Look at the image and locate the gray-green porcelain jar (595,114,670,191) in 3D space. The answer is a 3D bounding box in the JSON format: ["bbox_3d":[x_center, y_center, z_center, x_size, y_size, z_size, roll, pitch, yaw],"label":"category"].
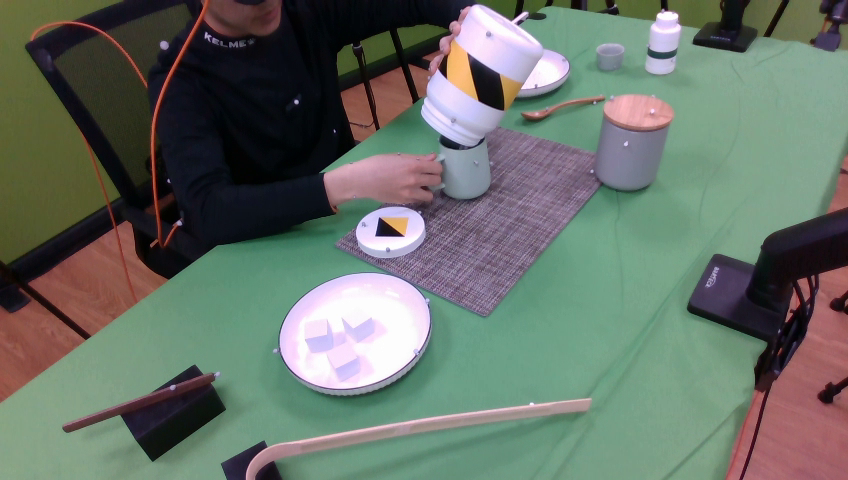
[{"bbox_3d":[0.346,-0.155,1.017,0.106,0.127,0.105,-2,43,2],"label":"gray-green porcelain jar"}]

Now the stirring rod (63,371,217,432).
[{"bbox_3d":[-0.337,0.192,0.723,0.177,0.014,0.005,-18,42,-12],"label":"stirring rod"}]

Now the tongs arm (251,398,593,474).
[{"bbox_3d":[0.008,0.212,0.675,0.389,0.028,0.028,-5,46,-11],"label":"tongs arm"}]

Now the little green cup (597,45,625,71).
[{"bbox_3d":[0.423,-0.413,1.375,0.061,0.039,0.061,-3,41,3],"label":"little green cup"}]

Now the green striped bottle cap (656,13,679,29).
[{"bbox_3d":[0.515,-0.463,1.278,0.044,0.020,0.044,-5,41,5],"label":"green striped bottle cap"}]

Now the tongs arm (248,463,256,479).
[{"bbox_3d":[0.012,0.262,0.615,0.385,0.026,0.050,2,42,-2],"label":"tongs arm"}]

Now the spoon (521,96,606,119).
[{"bbox_3d":[0.291,-0.277,1.249,0.194,0.022,0.041,-17,27,-11],"label":"spoon"}]

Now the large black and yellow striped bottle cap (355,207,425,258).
[{"bbox_3d":[-0.056,-0.014,0.993,0.115,0.019,0.114,-3,40,3],"label":"large black and yellow striped bottle cap"}]

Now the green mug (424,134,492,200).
[{"bbox_3d":[0.055,-0.125,1.039,0.126,0.105,0.091,-26,44,-20],"label":"green mug"}]

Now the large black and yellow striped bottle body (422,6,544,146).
[{"bbox_3d":[0.086,-0.253,0.953,0.131,0.184,0.130,26,27,-14],"label":"large black and yellow striped bottle body"}]

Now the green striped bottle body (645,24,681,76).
[{"bbox_3d":[0.520,-0.424,1.312,0.063,0.120,0.063,-4,41,4],"label":"green striped bottle body"}]

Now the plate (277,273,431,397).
[{"bbox_3d":[-0.091,0.129,0.821,0.207,0.039,0.206,-4,40,4],"label":"plate"}]

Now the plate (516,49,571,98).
[{"bbox_3d":[0.223,-0.371,1.357,0.209,0.038,0.208,-4,41,4],"label":"plate"}]

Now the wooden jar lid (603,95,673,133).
[{"bbox_3d":[0.343,-0.200,0.974,0.108,0.021,0.108,-1,39,2],"label":"wooden jar lid"}]
